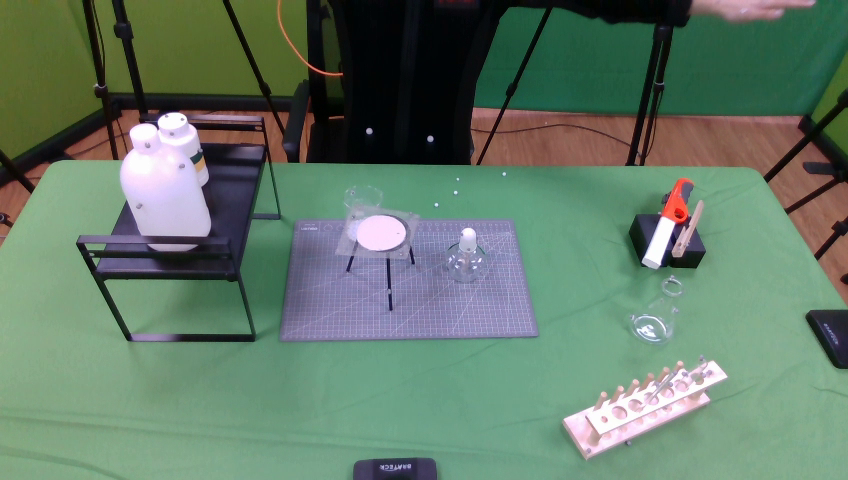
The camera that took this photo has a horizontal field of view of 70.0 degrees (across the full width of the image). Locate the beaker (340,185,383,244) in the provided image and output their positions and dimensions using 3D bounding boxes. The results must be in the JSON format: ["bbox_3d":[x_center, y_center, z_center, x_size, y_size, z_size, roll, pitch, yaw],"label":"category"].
[{"bbox_3d":[-0.119,-0.048,1.177,0.084,0.101,0.073,-20,51,-23],"label":"beaker"}]

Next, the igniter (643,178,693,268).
[{"bbox_3d":[0.488,-0.042,1.205,0.057,0.025,0.276,30,51,11],"label":"igniter"}]

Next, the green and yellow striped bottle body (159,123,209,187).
[{"bbox_3d":[-0.395,-0.145,0.989,0.063,0.120,0.063,2,46,-2],"label":"green and yellow striped bottle body"}]

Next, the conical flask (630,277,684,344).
[{"bbox_3d":[0.408,0.117,1.045,0.075,0.122,0.075,2,46,-2],"label":"conical flask"}]

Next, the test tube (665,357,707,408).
[{"bbox_3d":[0.387,0.215,0.905,0.017,0.151,0.017,1,52,-1],"label":"test tube"}]

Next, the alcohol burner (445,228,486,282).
[{"bbox_3d":[0.077,0.021,1.115,0.078,0.120,0.077,1,48,-1],"label":"alcohol burner"}]

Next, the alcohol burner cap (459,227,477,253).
[{"bbox_3d":[0.079,-0.002,1.088,0.034,0.048,0.033,-1,54,2],"label":"alcohol burner cap"}]

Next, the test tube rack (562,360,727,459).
[{"bbox_3d":[0.341,0.247,0.940,0.243,0.085,0.066,-16,49,-18],"label":"test tube rack"}]

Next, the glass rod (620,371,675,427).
[{"bbox_3d":[0.315,0.230,0.863,0.008,0.200,0.008,3,54,-3],"label":"glass rod"}]

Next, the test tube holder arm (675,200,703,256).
[{"bbox_3d":[0.523,-0.025,1.190,0.013,0.015,0.178,1,36,41],"label":"test tube holder arm"}]

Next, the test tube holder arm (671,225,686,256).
[{"bbox_3d":[0.494,0.001,1.167,0.010,0.015,0.087,1,36,42],"label":"test tube holder arm"}]

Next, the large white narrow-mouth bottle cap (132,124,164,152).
[{"bbox_3d":[-0.370,-0.137,0.812,0.038,0.024,0.037,3,46,-3],"label":"large white narrow-mouth bottle cap"}]

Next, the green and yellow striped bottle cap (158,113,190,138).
[{"bbox_3d":[-0.393,-0.180,0.951,0.045,0.020,0.045,2,44,-2],"label":"green and yellow striped bottle cap"}]

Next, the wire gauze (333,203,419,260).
[{"bbox_3d":[-0.079,-0.014,1.030,0.121,0.011,0.124,8,45,6],"label":"wire gauze"}]

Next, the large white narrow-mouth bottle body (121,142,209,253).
[{"bbox_3d":[-0.378,-0.077,0.875,0.102,0.195,0.101,3,46,-3],"label":"large white narrow-mouth bottle body"}]

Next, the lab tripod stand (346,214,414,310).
[{"bbox_3d":[-0.075,0.030,1.082,0.148,0.132,0.147,1,47,-1],"label":"lab tripod stand"}]
